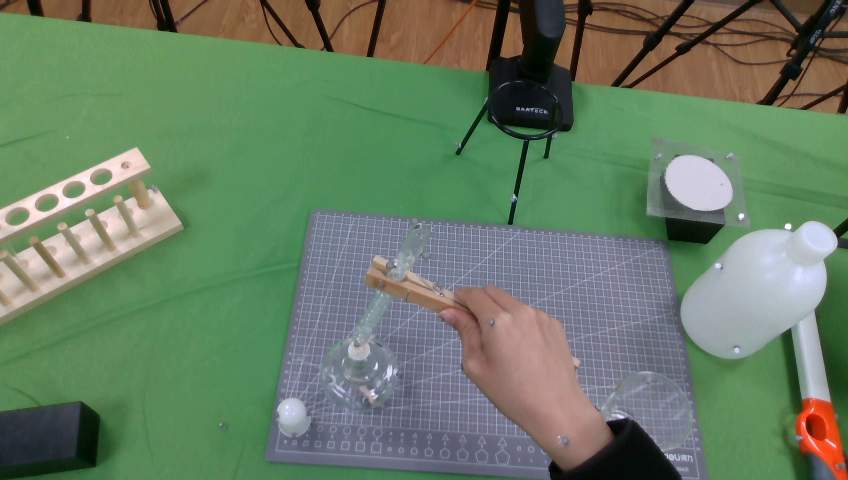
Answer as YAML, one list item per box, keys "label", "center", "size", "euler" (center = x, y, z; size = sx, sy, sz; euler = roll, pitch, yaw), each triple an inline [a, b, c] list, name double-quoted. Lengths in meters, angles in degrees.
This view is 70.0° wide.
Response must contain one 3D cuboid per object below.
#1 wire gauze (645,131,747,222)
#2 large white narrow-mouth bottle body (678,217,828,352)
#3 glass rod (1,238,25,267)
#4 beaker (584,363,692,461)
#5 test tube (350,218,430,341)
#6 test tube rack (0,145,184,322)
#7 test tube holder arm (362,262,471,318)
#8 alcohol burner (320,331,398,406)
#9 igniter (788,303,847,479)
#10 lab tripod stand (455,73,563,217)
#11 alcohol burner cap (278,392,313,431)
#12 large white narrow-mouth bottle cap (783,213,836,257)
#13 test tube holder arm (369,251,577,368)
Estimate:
- label: "wire gauze"
  center: [0.337, -0.080, 0.757]
  size: [0.121, 0.011, 0.124]
  euler: [12, 59, 1]
- label: "large white narrow-mouth bottle body"
  center: [0.352, 0.040, 0.638]
  size: [0.102, 0.196, 0.101]
  euler: [2, 59, -3]
- label: "glass rod"
  center: [-0.429, -0.032, 0.588]
  size: [0.008, 0.201, 0.008]
  euler: [4, 50, -5]
- label: "beaker"
  center: [0.202, 0.174, 0.597]
  size: [0.084, 0.101, 0.073]
  euler: [2, 59, -3]
- label: "test tube"
  center: [-0.031, 0.037, 0.483]
  size: [0.017, 0.151, 0.017]
  euler: [16, 44, -16]
- label: "test tube rack"
  center: [-0.396, -0.001, 0.650]
  size: [0.242, 0.086, 0.066]
  euler: [-32, 68, -22]
- label: "test tube holder arm"
  center: [-0.005, 0.040, 0.470]
  size: [0.088, 0.015, 0.010]
  euler: [20, 43, -3]
- label: "alcohol burner"
  center: [-0.063, 0.120, 0.594]
  size: [0.078, 0.120, 0.077]
  euler: [4, 59, -6]
- label: "igniter"
  center: [0.428, 0.179, 0.662]
  size: [0.057, 0.025, 0.274]
  euler: [16, 59, -8]
- label: "lab tripod stand"
  center: [0.111, -0.123, 0.744]
  size: [0.148, 0.132, 0.147]
  euler: [3, 61, -5]
- label: "alcohol burner cap"
  center: [-0.129, 0.168, 0.600]
  size: [0.034, 0.048, 0.033]
  euler: [2, 62, -3]
- label: "large white narrow-mouth bottle cap"
  center: [0.358, -0.005, 0.565]
  size: [0.038, 0.024, 0.037]
  euler: [2, 59, -4]
- label: "test tube holder arm"
  center: [0.037, 0.054, 0.474]
  size: [0.178, 0.015, 0.013]
  euler: [26, 44, 3]
